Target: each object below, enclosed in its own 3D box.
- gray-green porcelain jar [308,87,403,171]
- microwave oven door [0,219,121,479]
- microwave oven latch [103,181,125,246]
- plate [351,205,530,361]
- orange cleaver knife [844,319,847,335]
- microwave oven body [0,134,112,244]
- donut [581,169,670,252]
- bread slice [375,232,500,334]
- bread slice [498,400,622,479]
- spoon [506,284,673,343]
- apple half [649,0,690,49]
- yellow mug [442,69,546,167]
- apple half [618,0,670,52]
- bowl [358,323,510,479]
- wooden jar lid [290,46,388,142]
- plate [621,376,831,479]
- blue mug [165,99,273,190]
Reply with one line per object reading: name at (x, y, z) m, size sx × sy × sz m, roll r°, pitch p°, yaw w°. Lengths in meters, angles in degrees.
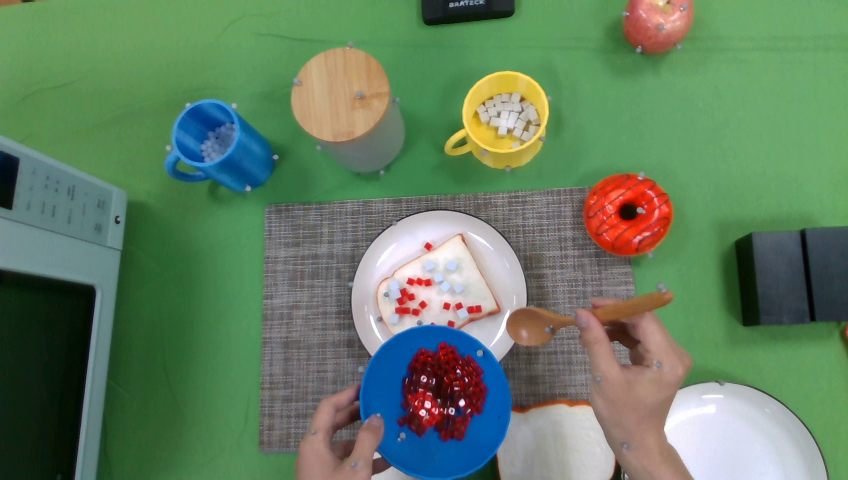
gray-green porcelain jar at (-0.083, -0.144, 0.719) m, size 0.106 × 0.127 × 0.105 m, roll -1°, pitch 80°, yaw 7°
microwave oven door at (-0.422, 0.164, 0.632) m, size 0.039 × 0.245 × 0.354 m, roll 0°, pitch 80°, yaw 8°
microwave oven latch at (-0.400, -0.033, 0.767) m, size 0.030 × 0.029 × 0.079 m, roll 2°, pitch 81°, yaw 7°
plate at (0.019, 0.064, 0.712) m, size 0.207 × 0.039 × 0.207 m, roll -1°, pitch 80°, yaw 7°
orange cleaver knife at (0.500, 0.173, 0.645) m, size 0.077 × 0.012 × 0.210 m, roll -1°, pitch 79°, yaw 1°
microwave oven body at (-0.565, 0.123, 0.662) m, size 0.325 × 0.261 × 0.440 m, roll 0°, pitch 81°, yaw 7°
donut at (0.231, -0.034, 0.698) m, size 0.099 × 0.048 × 0.098 m, roll -1°, pitch 81°, yaw 7°
bread slice at (0.010, 0.065, 0.715) m, size 0.131 × 0.019 × 0.104 m, roll -29°, pitch 78°, yaw 0°
bread slice at (0.146, 0.228, 0.644) m, size 0.135 × 0.018 × 0.106 m, roll -7°, pitch 75°, yaw -14°
spoon at (0.131, 0.063, 0.513) m, size 0.021 × 0.193 × 0.041 m, roll -34°, pitch 93°, yaw -29°
apple half at (0.283, -0.273, 0.721) m, size 0.053 × 0.075 × 0.080 m, roll -34°, pitch 73°, yaw -5°
yellow mug at (0.081, -0.138, 0.728) m, size 0.131 × 0.064 × 0.099 m, roll -27°, pitch 78°, yaw 3°
apple half at (0.252, -0.250, 0.720) m, size 0.033 × 0.081 × 0.081 m, roll -35°, pitch 77°, yaw -5°
bowl at (0.005, 0.167, 0.616) m, size 0.152 × 0.077 × 0.150 m, roll 5°, pitch 63°, yaw -9°
wooden jar lid at (-0.091, -0.156, 0.659) m, size 0.108 × 0.021 × 0.108 m, roll -2°, pitch 78°, yaw 8°
plate at (0.315, 0.250, 0.646) m, size 0.209 × 0.038 × 0.208 m, roll -1°, pitch 80°, yaw 8°
blue mug at (-0.259, -0.106, 0.746) m, size 0.116 × 0.106 × 0.082 m, roll -28°, pitch 77°, yaw 2°
